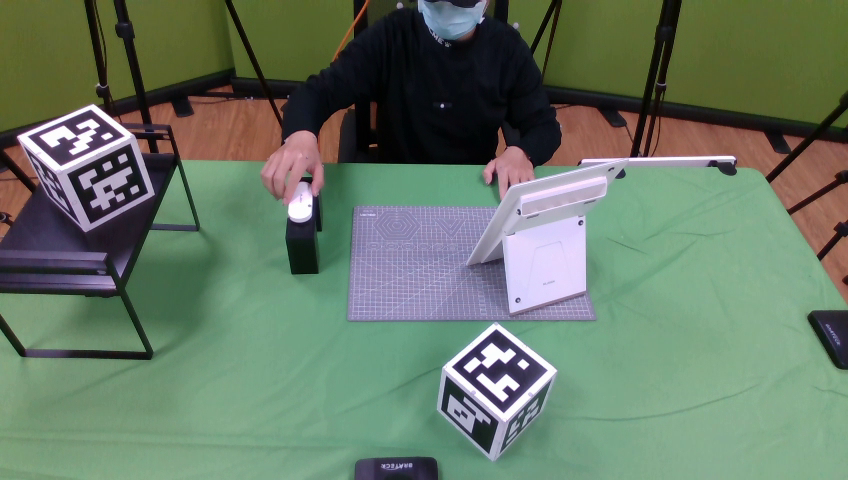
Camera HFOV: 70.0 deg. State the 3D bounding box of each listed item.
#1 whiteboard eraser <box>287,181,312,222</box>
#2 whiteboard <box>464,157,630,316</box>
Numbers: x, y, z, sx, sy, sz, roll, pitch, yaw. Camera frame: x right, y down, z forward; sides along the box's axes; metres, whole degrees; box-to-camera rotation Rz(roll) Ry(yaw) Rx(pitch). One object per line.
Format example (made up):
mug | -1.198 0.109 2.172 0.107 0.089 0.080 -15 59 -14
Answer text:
whiteboard eraser | -0.228 -0.071 1.111 0.041 0.019 0.100 -2 46 -5
whiteboard | 0.224 0.015 1.043 0.217 0.306 0.143 -14 68 -17
